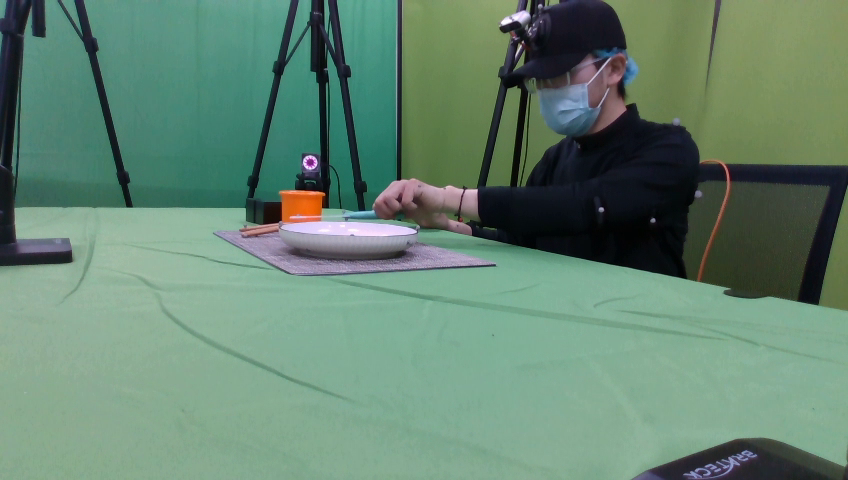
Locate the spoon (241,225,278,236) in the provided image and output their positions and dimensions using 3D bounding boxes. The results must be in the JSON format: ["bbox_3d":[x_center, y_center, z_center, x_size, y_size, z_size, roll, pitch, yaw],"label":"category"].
[{"bbox_3d":[-0.232,-0.021,1.082,0.195,0.021,0.041,-3,27,-37],"label":"spoon"}]

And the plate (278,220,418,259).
[{"bbox_3d":[-0.114,-0.002,0.914,0.209,0.038,0.209,2,7,0],"label":"plate"}]

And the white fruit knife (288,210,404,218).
[{"bbox_3d":[-0.135,-0.045,1.066,0.208,0.016,0.027,-1,8,-25],"label":"white fruit knife"}]

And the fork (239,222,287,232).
[{"bbox_3d":[-0.240,-0.025,1.125,0.208,0.018,0.028,-1,14,-35],"label":"fork"}]
